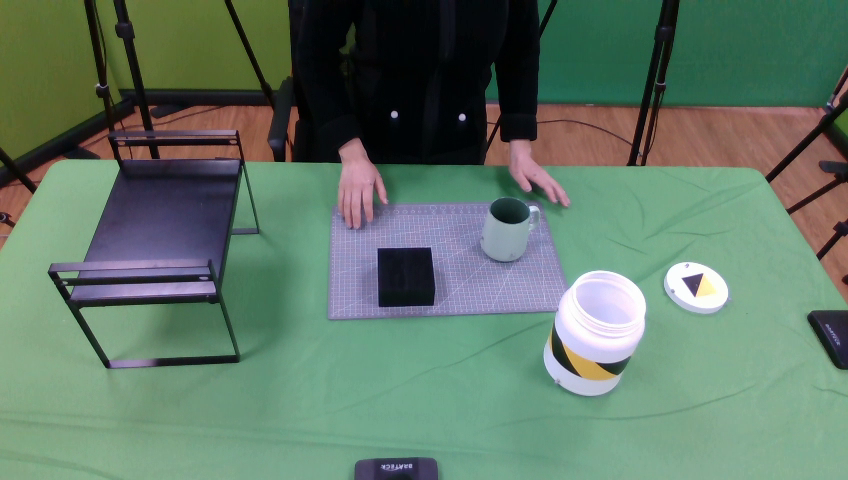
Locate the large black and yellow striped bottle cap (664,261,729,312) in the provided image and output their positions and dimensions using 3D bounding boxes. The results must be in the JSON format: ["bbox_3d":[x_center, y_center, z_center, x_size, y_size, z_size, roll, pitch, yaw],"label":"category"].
[{"bbox_3d":[0.518,0.087,1.153,0.115,0.019,0.114,2,47,-2],"label":"large black and yellow striped bottle cap"}]

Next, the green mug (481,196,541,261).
[{"bbox_3d":[0.174,-0.027,1.173,0.125,0.105,0.092,-22,51,-22],"label":"green mug"}]

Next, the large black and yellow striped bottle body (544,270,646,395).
[{"bbox_3d":[0.271,0.147,0.963,0.131,0.185,0.130,2,47,-2],"label":"large black and yellow striped bottle body"}]
